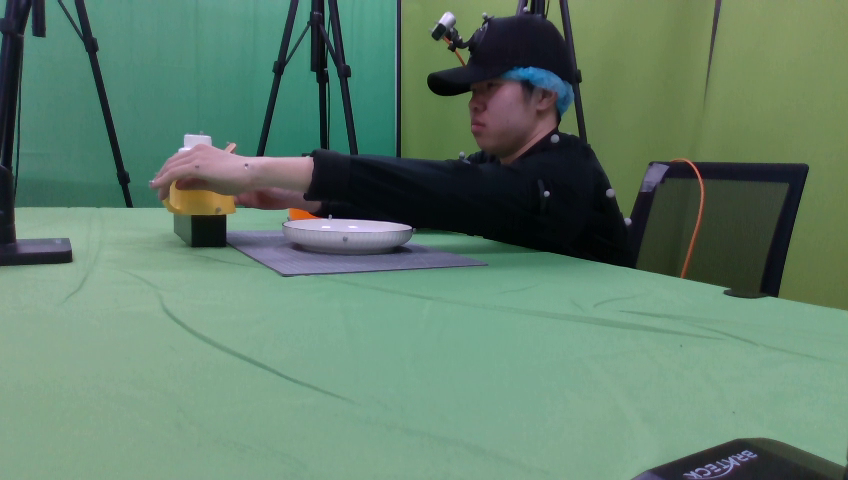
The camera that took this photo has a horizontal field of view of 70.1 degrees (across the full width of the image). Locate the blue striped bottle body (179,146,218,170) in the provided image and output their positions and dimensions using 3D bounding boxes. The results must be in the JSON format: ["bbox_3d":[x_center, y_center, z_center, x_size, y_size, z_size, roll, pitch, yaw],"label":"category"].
[{"bbox_3d":[-0.392,-0.119,1.053,0.063,0.120,0.063,2,8,0],"label":"blue striped bottle body"}]

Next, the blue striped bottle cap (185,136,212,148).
[{"bbox_3d":[-0.390,-0.169,1.047,0.044,0.020,0.044,4,9,0],"label":"blue striped bottle cap"}]

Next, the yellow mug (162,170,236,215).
[{"bbox_3d":[-0.353,-0.074,0.935,0.099,0.064,0.131,4,9,21],"label":"yellow mug"}]

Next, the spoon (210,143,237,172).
[{"bbox_3d":[-0.341,-0.113,0.990,0.041,0.021,0.193,1,39,6],"label":"spoon"}]

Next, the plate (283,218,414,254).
[{"bbox_3d":[-0.120,-0.007,0.971,0.208,0.039,0.207,2,7,0],"label":"plate"}]
